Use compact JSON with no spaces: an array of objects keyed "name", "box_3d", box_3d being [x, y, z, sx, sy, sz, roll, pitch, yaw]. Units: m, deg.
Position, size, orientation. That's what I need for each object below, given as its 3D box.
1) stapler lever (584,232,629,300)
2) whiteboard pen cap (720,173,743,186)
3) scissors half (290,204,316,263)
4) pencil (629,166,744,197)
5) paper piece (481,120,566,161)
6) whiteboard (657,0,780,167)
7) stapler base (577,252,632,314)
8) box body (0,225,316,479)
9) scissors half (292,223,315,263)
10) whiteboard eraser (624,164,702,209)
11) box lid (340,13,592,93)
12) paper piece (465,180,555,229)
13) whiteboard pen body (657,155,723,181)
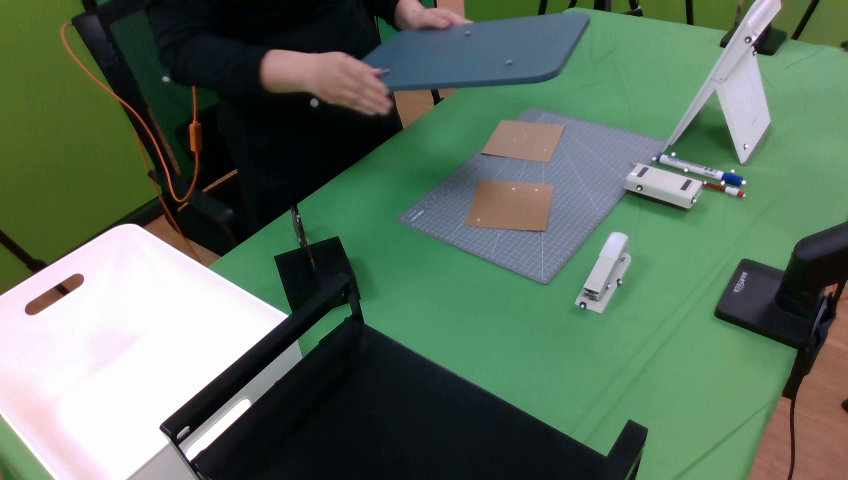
[{"name":"stapler lever","box_3d":[0.261,0.034,0.858,0.026,0.040,0.118,16,46,30]},{"name":"whiteboard pen cap","box_3d":[0.519,-0.103,1.020,0.033,0.018,0.018,23,49,30]},{"name":"scissors half","box_3d":[-0.189,-0.011,0.945,0.013,0.040,0.173,-11,35,-19]},{"name":"pencil","box_3d":[0.447,-0.103,1.038,0.192,0.012,0.012,21,48,29]},{"name":"paper piece","box_3d":[0.197,-0.199,1.188,0.135,0.004,0.135,11,43,21]},{"name":"whiteboard","box_3d":[0.571,-0.272,1.038,0.143,0.306,0.218,37,54,17]},{"name":"stapler base","box_3d":[0.264,0.051,0.875,0.041,0.024,0.131,16,47,30]},{"name":"box body","box_3d":[-0.339,0.162,0.728,0.361,0.161,0.255,23,48,31]},{"name":"scissors half","box_3d":[-0.188,0.007,0.954,0.013,0.040,0.174,-16,20,-16]},{"name":"whiteboard eraser","box_3d":[0.396,-0.087,1.003,0.112,0.042,0.056,22,48,31]},{"name":"box lid","box_3d":[0.071,-0.303,0.981,0.369,0.015,0.263,3,38,25]},{"name":"paper piece","box_3d":[0.149,-0.062,1.034,0.137,0.009,0.136,5,37,16]},{"name":"whiteboard pen body","box_3d":[0.475,-0.123,1.052,0.139,0.017,0.017,25,50,32]}]
